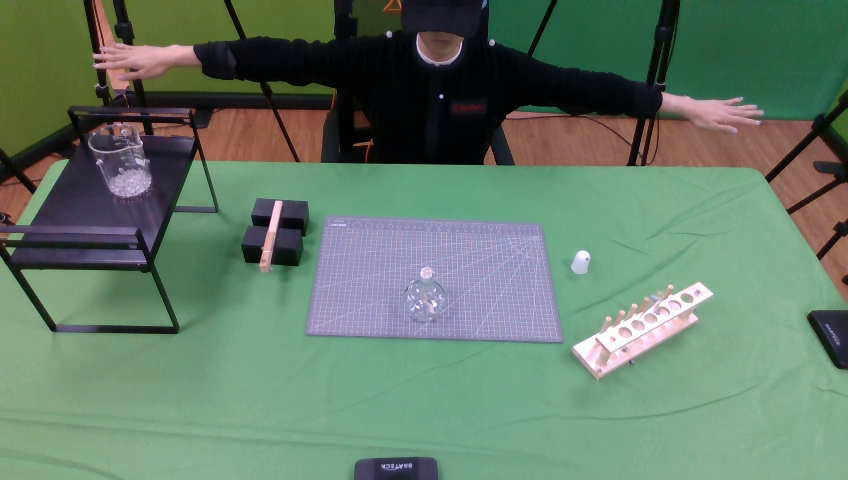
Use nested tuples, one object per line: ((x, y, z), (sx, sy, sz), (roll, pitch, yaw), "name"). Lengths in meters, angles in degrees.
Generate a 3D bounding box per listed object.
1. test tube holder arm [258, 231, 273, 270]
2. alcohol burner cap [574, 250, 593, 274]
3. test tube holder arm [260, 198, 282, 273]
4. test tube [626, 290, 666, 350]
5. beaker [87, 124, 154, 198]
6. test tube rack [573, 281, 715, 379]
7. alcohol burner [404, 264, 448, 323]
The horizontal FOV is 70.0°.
((-0.282, 0.018, 1.086), (0.015, 0.010, 0.087), (-3, 47, 3), "test tube holder arm")
((0.308, 0.039, 1.163), (0.034, 0.048, 0.033), (1, 46, -1), "alcohol burner cap")
((-0.282, -0.012, 1.120), (0.015, 0.013, 0.177), (-3, 48, 3), "test tube holder arm")
((0.355, 0.132, 0.975), (0.017, 0.151, 0.017), (3, 46, -3), "test tube")
((-0.482, -0.124, 0.978), (0.084, 0.101, 0.073), (9, 46, 4), "beaker")
((0.378, 0.140, 1.038), (0.242, 0.085, 0.066), (-22, 51, -23), "test tube rack")
((0.003, 0.087, 1.042), (0.078, 0.120, 0.077), (1, 45, 0), "alcohol burner")
